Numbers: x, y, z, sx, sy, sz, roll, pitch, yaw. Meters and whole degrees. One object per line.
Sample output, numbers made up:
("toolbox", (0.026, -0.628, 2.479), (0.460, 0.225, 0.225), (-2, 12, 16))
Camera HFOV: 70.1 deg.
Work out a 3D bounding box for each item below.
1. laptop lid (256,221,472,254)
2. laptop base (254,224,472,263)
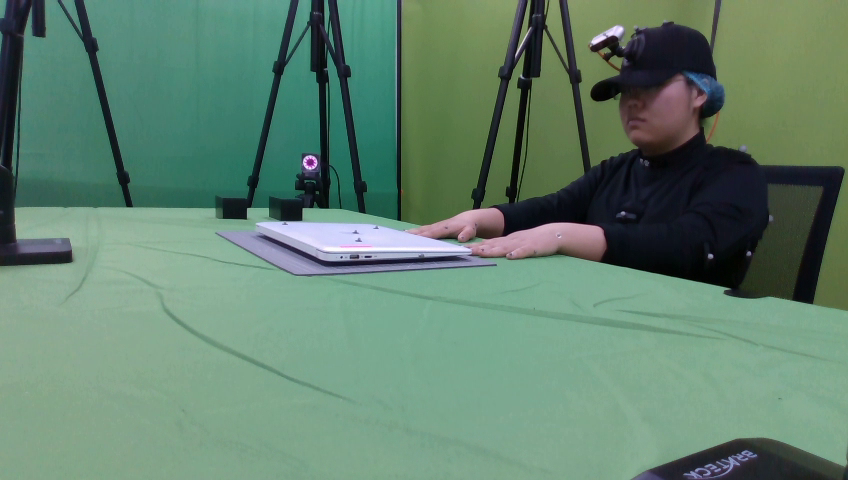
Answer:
("laptop lid", (-0.112, -0.007, 0.973), (0.243, 0.013, 0.355), (1, 7, -29))
("laptop base", (-0.114, 0.005, 0.973), (0.237, 0.023, 0.352), (2, 6, -31))
